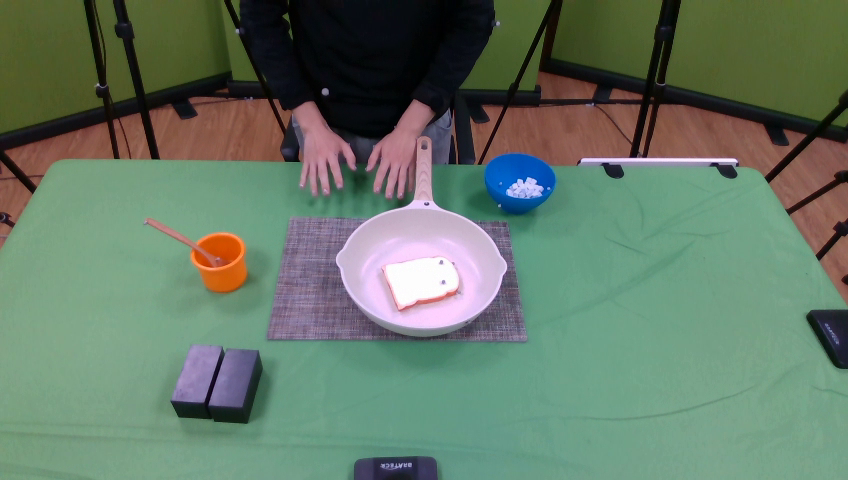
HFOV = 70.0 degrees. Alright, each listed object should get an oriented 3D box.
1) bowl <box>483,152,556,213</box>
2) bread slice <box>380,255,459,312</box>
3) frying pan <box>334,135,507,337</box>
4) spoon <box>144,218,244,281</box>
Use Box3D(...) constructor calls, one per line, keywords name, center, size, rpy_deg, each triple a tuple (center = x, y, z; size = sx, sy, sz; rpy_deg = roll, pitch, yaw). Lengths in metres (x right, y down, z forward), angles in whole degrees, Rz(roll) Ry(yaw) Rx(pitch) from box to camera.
Box3D(name="bowl", center=(0.195, -0.110, 1.280), size=(0.151, 0.077, 0.150), rpy_deg=(2, 46, -2))
Box3D(name="bread slice", center=(-0.005, 0.074, 1.119), size=(0.134, 0.018, 0.106), rpy_deg=(-16, 50, -16))
Box3D(name="frying pan", center=(-0.004, -0.026, 1.160), size=(0.307, 0.103, 0.485), rpy_deg=(4, 55, -2))
Box3D(name="spoon", center=(-0.401, 0.015, 1.064), size=(0.195, 0.021, 0.041), rpy_deg=(41, 37, -29))
